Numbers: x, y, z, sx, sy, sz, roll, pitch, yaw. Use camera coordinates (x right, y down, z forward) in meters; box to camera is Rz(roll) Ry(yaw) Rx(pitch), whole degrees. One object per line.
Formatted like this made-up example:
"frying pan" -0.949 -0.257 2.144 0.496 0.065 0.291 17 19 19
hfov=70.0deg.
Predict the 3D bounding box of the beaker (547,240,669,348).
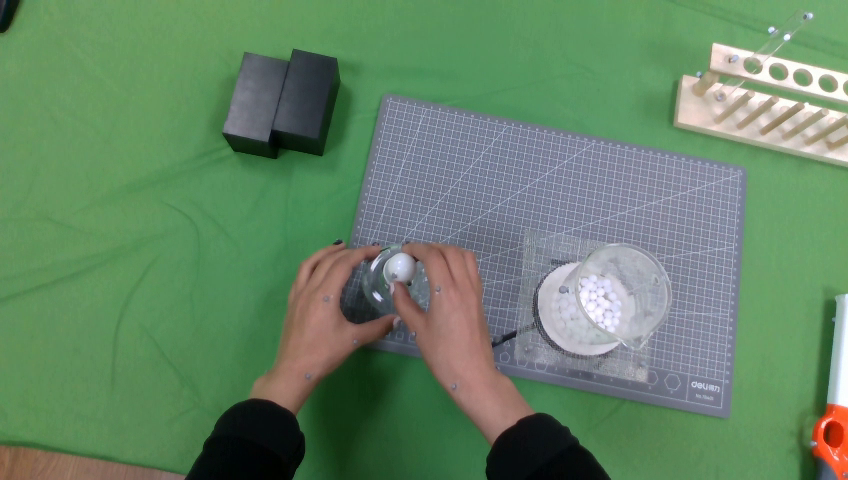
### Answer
"beaker" 0.147 0.052 0.503 0.074 0.100 0.083 -11 76 -5

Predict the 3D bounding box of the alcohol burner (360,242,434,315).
"alcohol burner" -0.027 0.036 0.622 0.078 0.119 0.077 1 74 -3

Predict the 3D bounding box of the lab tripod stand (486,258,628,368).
"lab tripod stand" 0.138 0.075 0.614 0.148 0.132 0.147 1 75 -2

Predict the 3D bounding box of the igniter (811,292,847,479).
"igniter" 0.455 0.192 0.666 0.057 0.025 0.275 18 76 -9

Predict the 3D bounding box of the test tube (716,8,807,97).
"test tube" 0.368 -0.202 0.672 0.017 0.151 0.017 1 72 -4

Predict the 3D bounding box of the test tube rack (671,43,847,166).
"test tube rack" 0.431 -0.156 0.716 0.242 0.085 0.066 12 76 -1

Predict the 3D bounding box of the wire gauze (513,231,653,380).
"wire gauze" 0.145 0.057 0.551 0.125 0.011 0.121 9 74 1

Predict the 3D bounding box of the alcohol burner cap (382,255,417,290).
"alcohol burner cap" -0.021 0.030 0.582 0.034 0.048 0.033 2 81 -9
